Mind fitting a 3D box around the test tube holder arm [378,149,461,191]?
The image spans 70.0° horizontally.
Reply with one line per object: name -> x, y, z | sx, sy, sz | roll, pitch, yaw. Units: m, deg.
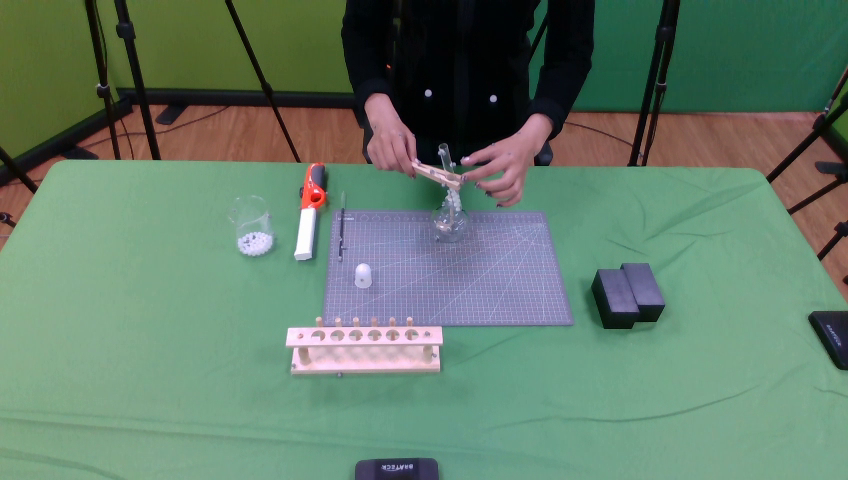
test tube holder arm -> -0.011, -0.124, 1.058 | 0.177, 0.015, 0.013 | 25, 57, 27

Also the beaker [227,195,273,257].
beaker -> -0.326, -0.022, 1.142 | 0.074, 0.101, 0.083 | 10, 47, 6

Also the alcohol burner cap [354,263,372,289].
alcohol burner cap -> -0.113, 0.063, 1.111 | 0.034, 0.048, 0.033 | 2, 46, -2

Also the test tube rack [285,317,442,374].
test tube rack -> -0.095, 0.166, 0.988 | 0.242, 0.085, 0.066 | 0, 46, -4

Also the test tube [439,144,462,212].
test tube -> 0.047, -0.102, 1.029 | 0.017, 0.151, 0.017 | -8, 47, 9

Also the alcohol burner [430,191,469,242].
alcohol burner -> 0.051, -0.053, 1.185 | 0.078, 0.119, 0.077 | 2, 48, -2

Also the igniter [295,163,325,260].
igniter -> -0.233, -0.067, 1.242 | 0.057, 0.025, 0.274 | -7, 46, 4

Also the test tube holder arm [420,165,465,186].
test tube holder arm -> 0.030, -0.112, 1.041 | 0.087, 0.015, 0.010 | 18, 55, 22

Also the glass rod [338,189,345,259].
glass rod -> -0.166, -0.036, 1.227 | 0.008, 0.008, 0.198 | -1, 46, -4
